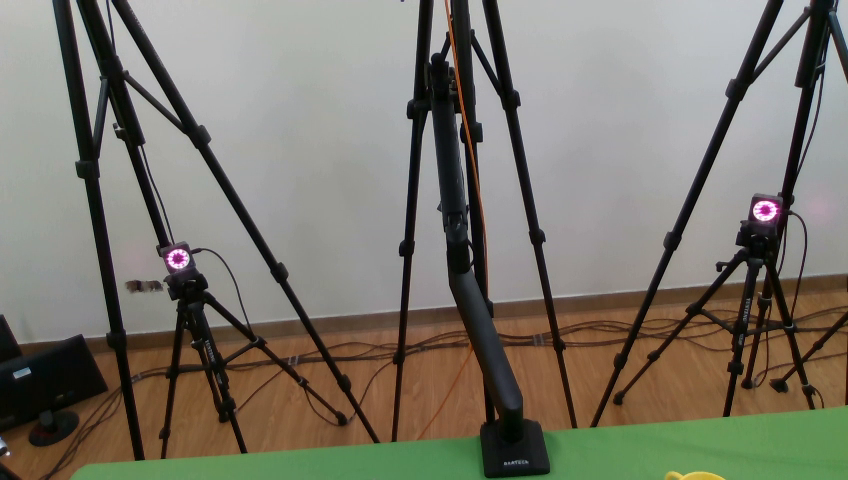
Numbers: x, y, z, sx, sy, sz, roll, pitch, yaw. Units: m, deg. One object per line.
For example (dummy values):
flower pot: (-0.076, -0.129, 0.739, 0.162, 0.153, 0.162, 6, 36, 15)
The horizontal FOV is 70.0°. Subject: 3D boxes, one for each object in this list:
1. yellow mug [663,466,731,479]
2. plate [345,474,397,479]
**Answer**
yellow mug: (0.444, 0.420, 0.986, 0.100, 0.064, 0.129, -23, 33, -24)
plate: (-0.100, 0.486, 1.004, 0.207, 0.039, 0.206, -4, 30, 3)
